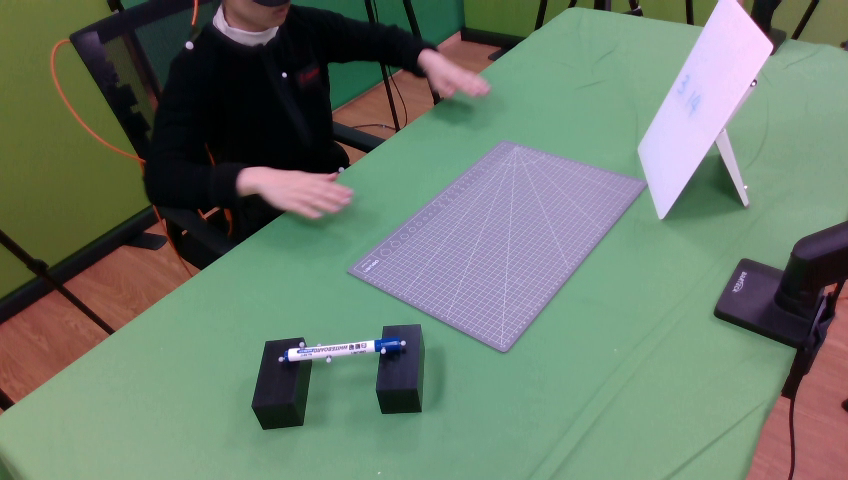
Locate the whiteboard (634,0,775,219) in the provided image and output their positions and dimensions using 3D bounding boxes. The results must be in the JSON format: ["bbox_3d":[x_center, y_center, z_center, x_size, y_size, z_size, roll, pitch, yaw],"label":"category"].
[{"bbox_3d":[0.485,-0.192,0.957,0.144,0.305,0.216,14,41,-4],"label":"whiteboard"}]

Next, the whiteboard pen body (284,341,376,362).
[{"bbox_3d":[-0.105,0.138,0.754,0.141,0.017,0.017,-6,40,2],"label":"whiteboard pen body"}]

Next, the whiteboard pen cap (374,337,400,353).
[{"bbox_3d":[-0.047,0.132,0.753,0.033,0.018,0.018,-9,40,3],"label":"whiteboard pen cap"}]
